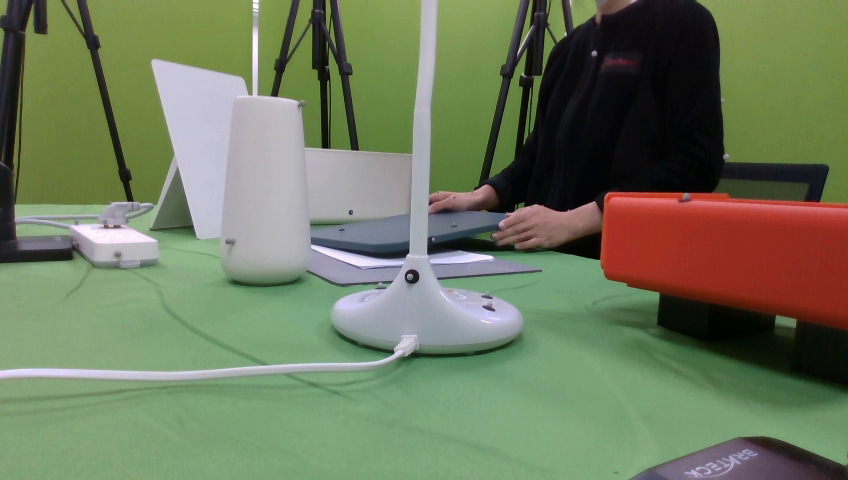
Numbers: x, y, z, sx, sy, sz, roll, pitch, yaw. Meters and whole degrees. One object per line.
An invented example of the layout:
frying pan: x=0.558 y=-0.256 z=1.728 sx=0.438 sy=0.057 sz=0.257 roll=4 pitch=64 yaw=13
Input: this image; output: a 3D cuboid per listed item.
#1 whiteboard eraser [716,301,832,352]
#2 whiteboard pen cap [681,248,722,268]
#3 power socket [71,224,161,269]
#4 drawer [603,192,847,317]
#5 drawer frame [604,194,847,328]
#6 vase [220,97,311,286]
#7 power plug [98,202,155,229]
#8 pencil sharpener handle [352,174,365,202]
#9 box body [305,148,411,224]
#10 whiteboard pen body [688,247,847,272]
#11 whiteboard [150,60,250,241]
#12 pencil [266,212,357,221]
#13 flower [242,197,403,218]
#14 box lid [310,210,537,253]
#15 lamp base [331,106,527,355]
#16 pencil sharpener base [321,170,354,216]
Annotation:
whiteboard eraser: x=0.256 y=0.042 z=0.472 sx=0.112 sy=0.042 sz=0.056 roll=43 pitch=19 yaw=30
whiteboard pen cap: x=0.250 y=0.017 z=0.544 sx=0.033 sy=0.018 sz=0.018 roll=2 pitch=7 yaw=25
power socket: x=-0.408 y=0.004 z=0.793 sx=0.072 sy=0.032 sz=0.225 roll=-2 pitch=8 yaw=-38
drawer: x=0.293 y=0.002 z=0.500 sx=0.195 sy=0.073 sz=0.210 roll=-1 pitch=8 yaw=-34
drawer frame: x=0.298 y=0.007 z=0.497 sx=0.203 sy=0.082 sz=0.212 roll=-1 pitch=7 yaw=-34
vase: x=-0.172 y=-0.052 z=0.662 sx=0.098 sy=0.200 sz=0.098 roll=3 pitch=8 yaw=0
power plug: x=-0.416 y=-0.027 z=0.848 sx=0.073 sy=0.052 sz=0.035 roll=0 pitch=8 yaw=-28
pencil sharpener handle: x=-0.156 y=-0.124 z=1.449 sx=0.031 sy=0.068 sz=0.036 roll=1 pitch=18 yaw=-10
box body: x=-0.230 y=-0.126 z=1.372 sx=0.366 sy=0.160 sz=0.253 roll=-2 pitch=8 yaw=-33
whiteboard pen body: x=0.304 y=0.016 z=0.520 sx=0.140 sy=0.017 sz=0.017 roll=3 pitch=7 yaw=26
whiteboard: x=-0.408 y=-0.139 z=1.093 sx=0.143 sy=0.305 sz=0.218 roll=-15 pitch=-1 yaw=26
pencil: x=-0.244 y=-0.049 z=1.320 sx=0.195 sy=0.012 sz=0.012 roll=3 pitch=7 yaw=-13
flower: x=-0.229 y=-0.067 z=1.372 sx=0.362 sy=0.038 sz=0.044 roll=4 pitch=36 yaw=-2
box lid: x=-0.012 y=-0.020 z=1.031 sx=0.373 sy=0.015 sz=0.262 roll=-11 pitch=12 yaw=-43
lamp base: x=0.006 y=-0.012 z=0.478 sx=0.161 sy=0.180 sz=0.179 roll=2 pitch=10 yaw=2
pencil sharpener base: x=-0.206 y=-0.112 z=1.437 sx=0.077 sy=0.107 sz=0.061 roll=1 pitch=6 yaw=-11
